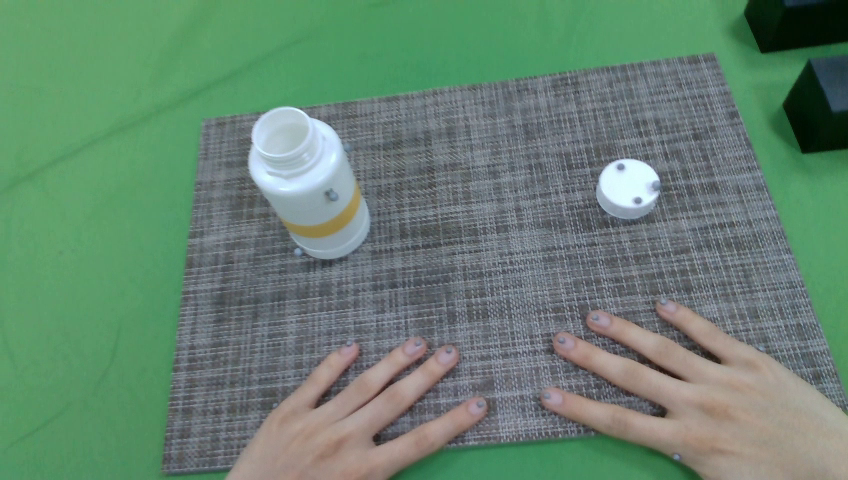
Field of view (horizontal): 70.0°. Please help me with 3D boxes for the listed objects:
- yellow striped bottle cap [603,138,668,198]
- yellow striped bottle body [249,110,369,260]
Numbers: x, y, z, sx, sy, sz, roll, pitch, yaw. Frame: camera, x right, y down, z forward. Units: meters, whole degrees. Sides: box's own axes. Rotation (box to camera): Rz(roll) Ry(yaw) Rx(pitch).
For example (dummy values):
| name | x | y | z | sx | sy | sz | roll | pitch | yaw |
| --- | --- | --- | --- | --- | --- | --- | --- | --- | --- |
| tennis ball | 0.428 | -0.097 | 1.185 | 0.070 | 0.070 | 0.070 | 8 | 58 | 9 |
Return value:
| name | x | y | z | sx | sy | sz | roll | pitch | yaw |
| --- | --- | --- | --- | --- | --- | --- | --- | --- | --- |
| yellow striped bottle cap | 0.153 | -0.052 | 0.440 | 0.044 | 0.019 | 0.044 | -5 | 54 | 8 |
| yellow striped bottle body | -0.081 | -0.038 | 0.427 | 0.063 | 0.121 | 0.062 | -3 | 62 | 6 |
